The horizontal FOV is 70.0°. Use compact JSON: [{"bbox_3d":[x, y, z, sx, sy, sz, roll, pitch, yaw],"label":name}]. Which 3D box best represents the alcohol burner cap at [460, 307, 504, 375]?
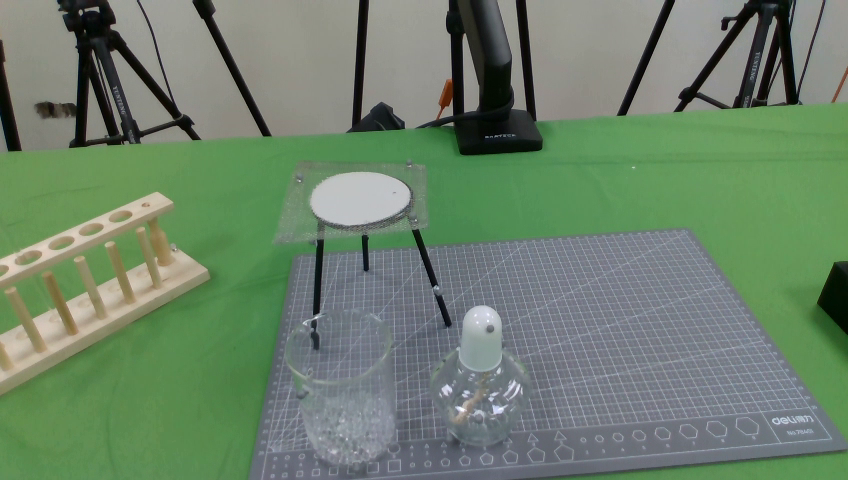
[{"bbox_3d":[0.042,0.069,0.432,0.034,0.048,0.033,0,37,0],"label":"alcohol burner cap"}]

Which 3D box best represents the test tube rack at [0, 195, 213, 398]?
[{"bbox_3d":[-0.333,0.051,0.572,0.066,0.086,0.242,26,44,35],"label":"test tube rack"}]

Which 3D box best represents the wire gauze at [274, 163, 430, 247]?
[{"bbox_3d":[-0.057,-0.035,0.514,0.121,0.011,0.124,-2,36,-1],"label":"wire gauze"}]

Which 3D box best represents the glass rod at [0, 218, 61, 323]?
[{"bbox_3d":[-0.370,-0.003,0.537,0.008,0.201,0.008,-6,33,4],"label":"glass rod"}]

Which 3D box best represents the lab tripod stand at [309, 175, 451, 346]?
[{"bbox_3d":[-0.046,0.018,0.556,0.148,0.132,0.147,0,34,1],"label":"lab tripod stand"}]

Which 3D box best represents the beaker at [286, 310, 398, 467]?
[{"bbox_3d":[-0.059,0.112,0.452,0.083,0.101,0.074,25,43,34],"label":"beaker"}]

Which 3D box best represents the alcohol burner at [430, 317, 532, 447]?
[{"bbox_3d":[0.043,0.098,0.453,0.078,0.120,0.077,-1,37,1],"label":"alcohol burner"}]
